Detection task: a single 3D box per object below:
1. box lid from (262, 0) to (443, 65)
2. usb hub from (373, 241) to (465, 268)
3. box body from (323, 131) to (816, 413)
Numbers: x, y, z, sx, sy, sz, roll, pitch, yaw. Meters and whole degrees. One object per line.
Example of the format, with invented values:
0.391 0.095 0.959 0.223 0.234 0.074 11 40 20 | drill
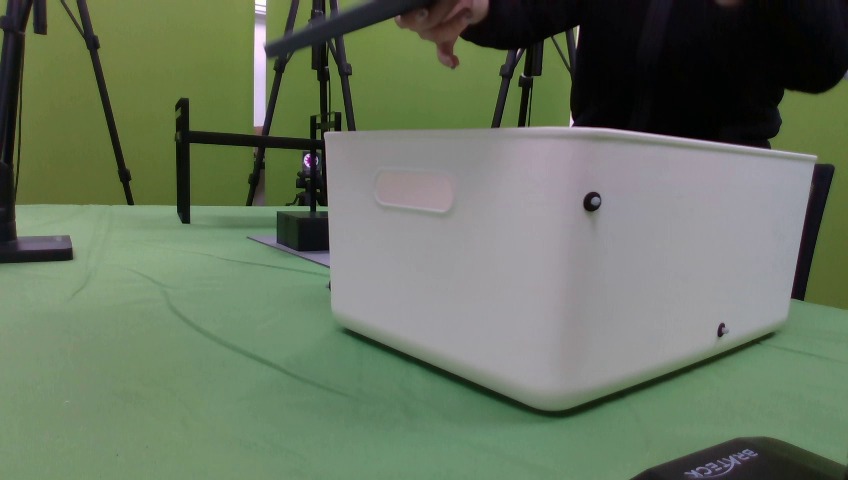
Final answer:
0.079 -0.214 0.459 0.373 0.015 0.262 -34 22 -33 | box lid
-0.005 0.018 0.826 0.126 0.025 0.049 -4 9 -39 | usb hub
0.125 -0.001 0.510 0.366 0.160 0.253 -4 9 -41 | box body
